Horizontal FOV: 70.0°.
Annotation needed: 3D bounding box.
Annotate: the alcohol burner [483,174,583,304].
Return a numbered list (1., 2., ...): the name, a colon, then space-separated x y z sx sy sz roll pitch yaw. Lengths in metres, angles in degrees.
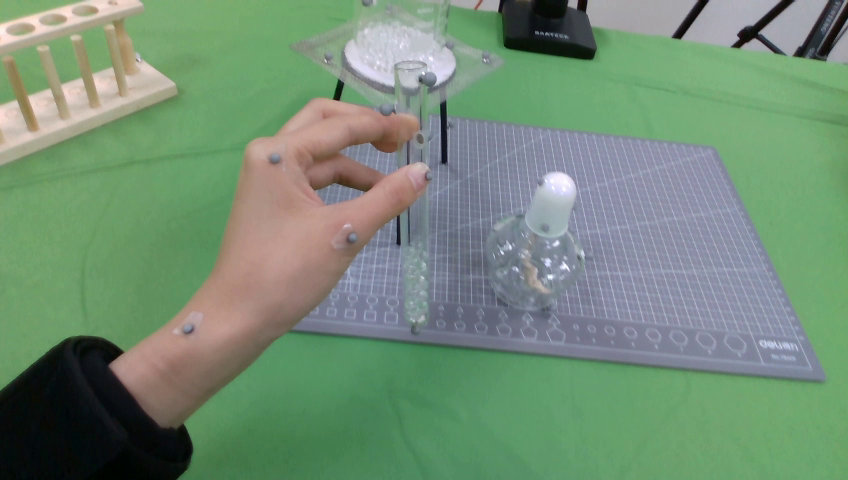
1. alcohol burner: 0.087 -0.006 0.460 0.078 0.120 0.077 6 46 -6

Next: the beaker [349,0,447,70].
1. beaker: -0.020 -0.181 0.435 0.084 0.101 0.073 -30 59 -30

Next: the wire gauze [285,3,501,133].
1. wire gauze: -0.022 -0.142 0.467 0.124 0.011 0.121 38 55 20

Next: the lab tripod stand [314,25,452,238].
1. lab tripod stand: -0.027 -0.097 0.514 0.149 0.132 0.147 6 47 -6

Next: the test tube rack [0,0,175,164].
1. test tube rack: -0.354 -0.137 0.535 0.066 0.086 0.242 35 51 23

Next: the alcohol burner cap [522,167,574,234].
1. alcohol burner cap: 0.091 -0.030 0.433 0.034 0.048 0.033 3 51 -3

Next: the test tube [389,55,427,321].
1. test tube: -0.007 -0.019 0.314 0.017 0.151 0.017 -1 32 1
